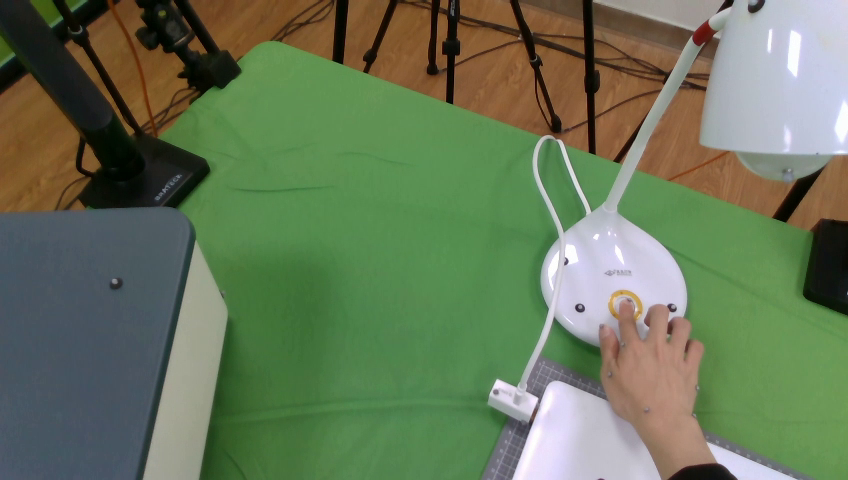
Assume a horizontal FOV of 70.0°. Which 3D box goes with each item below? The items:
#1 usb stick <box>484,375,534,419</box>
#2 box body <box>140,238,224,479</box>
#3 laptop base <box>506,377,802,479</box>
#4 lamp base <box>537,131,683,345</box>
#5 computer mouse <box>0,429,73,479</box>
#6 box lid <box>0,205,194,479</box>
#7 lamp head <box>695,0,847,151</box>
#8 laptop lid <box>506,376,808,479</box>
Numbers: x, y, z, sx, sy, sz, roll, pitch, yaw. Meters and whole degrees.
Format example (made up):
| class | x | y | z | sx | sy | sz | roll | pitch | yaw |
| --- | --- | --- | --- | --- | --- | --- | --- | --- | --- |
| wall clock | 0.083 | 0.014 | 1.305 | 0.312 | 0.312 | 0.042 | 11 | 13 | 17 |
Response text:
| class | x | y | z | sx | sy | sz | roll | pitch | yaw |
| --- | --- | --- | --- | --- | --- | --- | --- | --- | --- |
| usb stick | 0.089 | 0.157 | 0.592 | 0.059 | 0.027 | 0.021 | 25 | 55 | 13 |
| box body | -0.332 | 0.166 | 0.513 | 0.254 | 0.162 | 0.360 | -1 | 57 | -1 |
| laptop base | 0.233 | 0.288 | 0.522 | 0.353 | 0.023 | 0.234 | 21 | 63 | 13 |
| lamp base | 0.203 | -0.009 | 0.621 | 0.161 | 0.182 | 0.177 | -11 | 54 | -7 |
| computer mouse | -0.363 | 0.212 | 0.543 | 0.063 | 0.041 | 0.116 | -27 | 20 | -7 |
| box lid | -0.332 | 0.124 | 0.453 | 0.263 | 0.015 | 0.368 | -1 | 57 | -1 |
| lamp head | 0.221 | -0.116 | 0.357 | 0.112 | 0.112 | 0.123 | -4 | 100 | -2 |
| laptop lid | 0.232 | 0.283 | 0.512 | 0.355 | 0.013 | 0.240 | 22 | 62 | 14 |
